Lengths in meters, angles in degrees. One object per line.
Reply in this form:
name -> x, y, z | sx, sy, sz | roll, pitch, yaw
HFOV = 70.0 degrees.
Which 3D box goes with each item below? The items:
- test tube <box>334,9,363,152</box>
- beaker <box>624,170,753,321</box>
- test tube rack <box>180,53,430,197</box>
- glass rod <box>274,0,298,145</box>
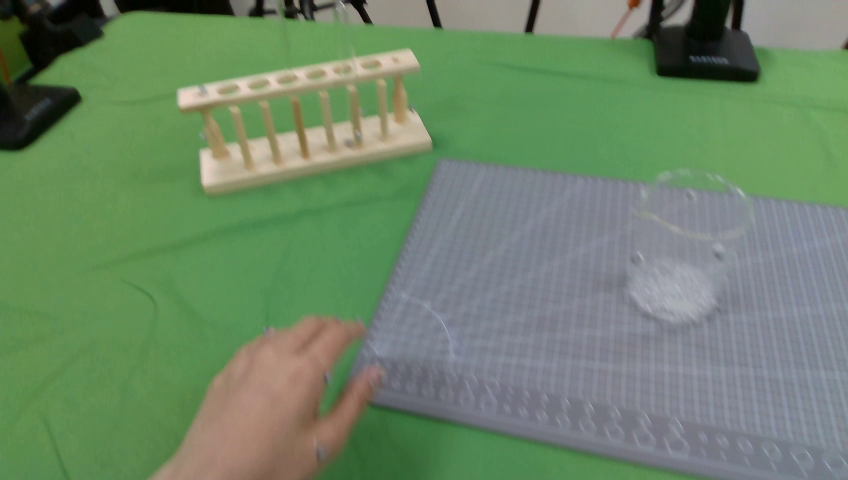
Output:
test tube -> -0.074, -0.154, 0.603 | 0.017, 0.151, 0.017 | -1, 42, 1
beaker -> 0.195, 0.008, 0.469 | 0.084, 0.101, 0.073 | -4, 43, 1
test tube rack -> -0.119, -0.123, 0.639 | 0.243, 0.086, 0.066 | -13, 45, -10
glass rod -> -0.140, -0.186, 0.609 | 0.008, 0.201, 0.008 | 0, 37, 0
